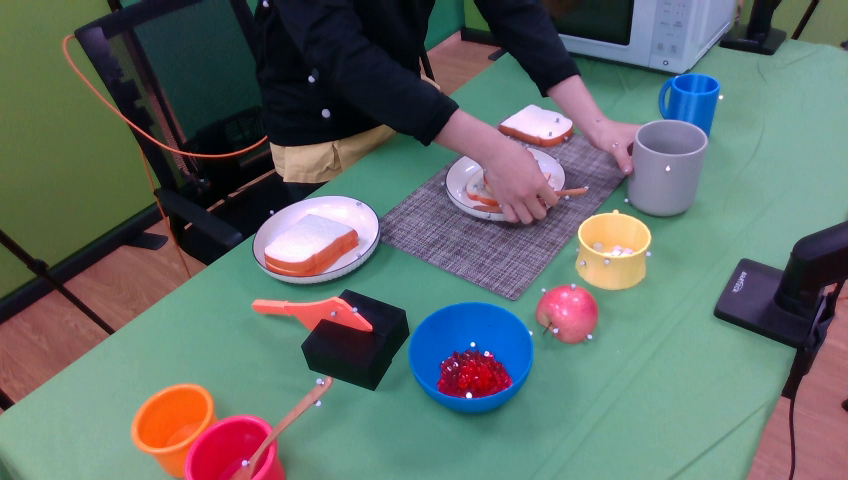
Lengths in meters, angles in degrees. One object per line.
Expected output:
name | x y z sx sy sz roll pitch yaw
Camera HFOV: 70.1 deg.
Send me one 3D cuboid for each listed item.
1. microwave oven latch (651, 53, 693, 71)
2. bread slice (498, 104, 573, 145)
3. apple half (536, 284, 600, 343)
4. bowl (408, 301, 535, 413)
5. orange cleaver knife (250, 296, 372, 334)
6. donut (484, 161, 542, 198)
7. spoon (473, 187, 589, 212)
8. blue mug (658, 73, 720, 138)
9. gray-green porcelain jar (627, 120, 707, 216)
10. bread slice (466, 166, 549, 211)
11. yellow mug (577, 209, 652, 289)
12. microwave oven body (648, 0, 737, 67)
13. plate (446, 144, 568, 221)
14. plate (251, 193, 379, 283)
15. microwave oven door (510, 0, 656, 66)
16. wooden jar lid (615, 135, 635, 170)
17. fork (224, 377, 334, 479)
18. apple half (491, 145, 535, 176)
microwave oven latch | 0.532 -0.386 1.301 0.078 0.029 0.030 27 52 34
bread slice | 0.230 -0.231 1.205 0.105 0.019 0.130 -36 48 -29
apple half | 0.196 0.091 0.815 0.075 0.053 0.080 -22 42 -20
bowl | 0.060 0.156 0.739 0.151 0.077 0.150 -4 40 4
orange cleaver knife | -0.158 0.103 0.828 0.210 0.078 0.012 -4 43 39
donut | 0.149 -0.109 1.015 0.099 0.048 0.098 -4 42 4
spoon | 0.165 -0.064 0.959 0.192 0.021 0.042 -12 7 32
blue mug | 0.483 -0.250 1.127 0.082 0.106 0.115 -26 44 -19
gray-green porcelain jar | 0.383 -0.110 0.964 0.106 0.127 0.105 -4 41 4
bread slice | 0.141 -0.089 1.048 0.134 0.018 0.107 12 41 14
yellow mug | 0.279 0.004 0.893 0.099 0.064 0.130 5 41 15
microwave oven body | 0.475 -0.602 1.411 0.438 0.261 0.327 23 50 32
plate | 0.142 -0.096 1.046 0.207 0.039 0.206 -4 40 4
plate | -0.174 -0.001 0.984 0.209 0.038 0.208 -4 41 4
microwave oven door | 0.350 -0.539 1.348 0.353 0.245 0.039 24 50 31
wooden jar lid | 0.398 -0.151 1.086 0.108 0.021 0.108 -1 43 2
fork | -0.163 0.216 0.646 0.207 0.019 0.028 -49 42 16
apple half | 0.147 -0.138 0.993 0.081 0.033 0.081 1 36 0
